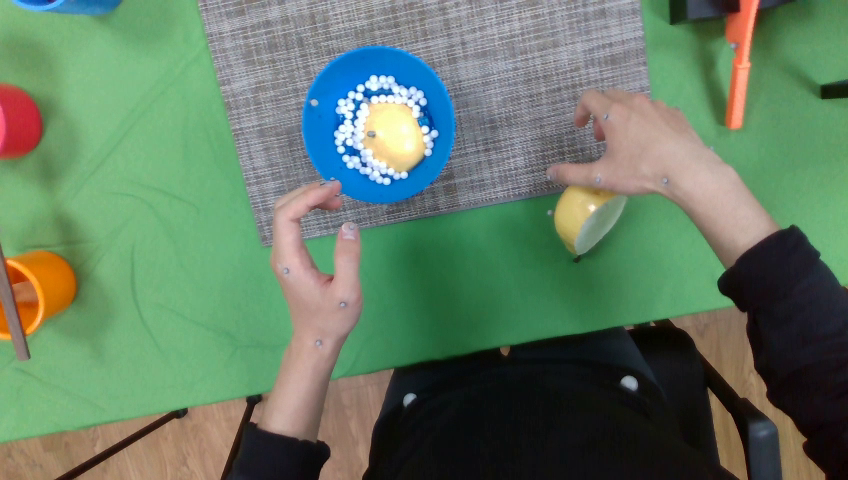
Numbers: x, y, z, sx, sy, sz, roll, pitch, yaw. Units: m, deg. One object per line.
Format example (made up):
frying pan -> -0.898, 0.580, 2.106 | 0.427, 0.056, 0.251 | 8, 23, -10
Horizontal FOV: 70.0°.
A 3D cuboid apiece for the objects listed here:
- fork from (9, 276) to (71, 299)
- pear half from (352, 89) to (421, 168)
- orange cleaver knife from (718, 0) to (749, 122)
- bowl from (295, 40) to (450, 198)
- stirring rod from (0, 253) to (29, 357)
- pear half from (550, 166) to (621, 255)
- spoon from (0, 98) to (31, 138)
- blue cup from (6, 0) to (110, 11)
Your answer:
fork -> -0.493, 0.057, 0.640 | 0.208, 0.018, 0.028 | -3, 116, -43
pear half -> -0.043, -0.116, 0.616 | 0.070, 0.031, 0.088 | -37, 95, 7
orange cleaver knife -> 0.303, -0.219, 0.593 | 0.012, 0.076, 0.213 | -8, 131, 9
bowl -> -0.048, -0.122, 0.621 | 0.151, 0.076, 0.152 | 0, 102, 2
stirring rod -> -0.443, 0.040, 0.633 | 0.014, 0.006, 0.177 | -7, 103, 0
pear half -> 0.166, -0.030, 0.656 | 0.076, 0.055, 0.111 | -19, 138, -26
spoon -> -0.507, -0.116, 0.604 | 0.194, 0.021, 0.042 | -16, 108, -39
blue cup -> -0.355, -0.263, 0.588 | 0.092, 0.100, 0.093 | 1, 103, 4
